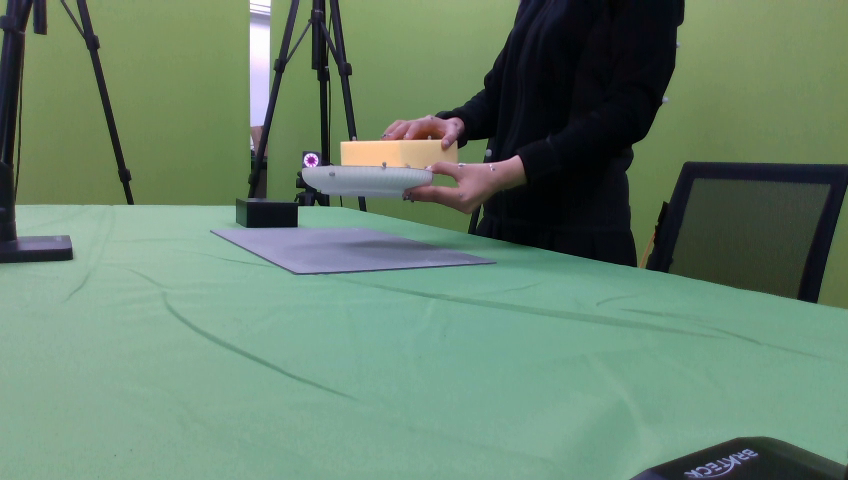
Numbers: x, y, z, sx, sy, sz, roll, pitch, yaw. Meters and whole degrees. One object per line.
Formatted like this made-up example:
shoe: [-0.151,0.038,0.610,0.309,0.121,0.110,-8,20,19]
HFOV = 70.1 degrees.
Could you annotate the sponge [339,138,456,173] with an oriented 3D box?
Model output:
sponge: [-0.040,-0.145,1.058,0.118,0.061,0.208,3,10,28]

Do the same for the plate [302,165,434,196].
plate: [-0.088,-0.092,0.959,0.209,0.038,0.209,0,1,0]
